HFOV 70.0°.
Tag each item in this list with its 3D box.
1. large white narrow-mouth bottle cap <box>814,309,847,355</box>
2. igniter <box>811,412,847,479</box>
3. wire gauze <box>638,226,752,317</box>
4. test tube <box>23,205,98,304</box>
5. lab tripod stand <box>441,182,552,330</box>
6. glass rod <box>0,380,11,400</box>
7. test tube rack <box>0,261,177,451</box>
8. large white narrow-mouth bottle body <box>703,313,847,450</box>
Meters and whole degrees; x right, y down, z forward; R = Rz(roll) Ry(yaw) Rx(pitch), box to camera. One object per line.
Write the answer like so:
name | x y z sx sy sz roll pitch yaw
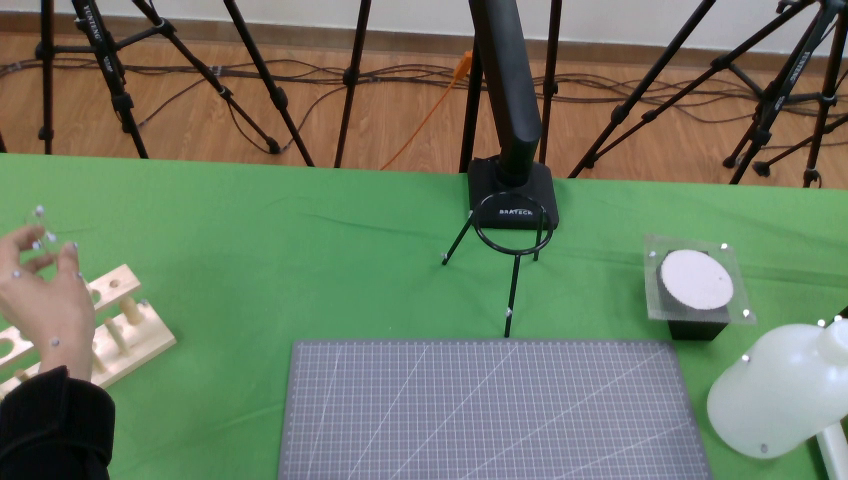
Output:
large white narrow-mouth bottle cap | 0.371 0.082 0.540 0.038 0.024 0.037 2 53 -3
igniter | 0.436 0.276 0.615 0.057 0.025 0.274 12 53 -9
wire gauze | 0.322 0.037 0.730 0.121 0.011 0.124 7 53 0
test tube | -0.339 0.019 0.572 0.017 0.151 0.017 3 54 -4
lab tripod stand | 0.094 0.012 0.713 0.148 0.132 0.147 3 55 -4
glass rod | -0.417 0.095 0.555 0.008 0.201 0.008 5 45 -4
test tube rack | -0.388 0.128 0.615 0.242 0.086 0.066 -35 63 -26
large white narrow-mouth bottle body | 0.366 0.134 0.608 0.102 0.196 0.101 2 53 -3
